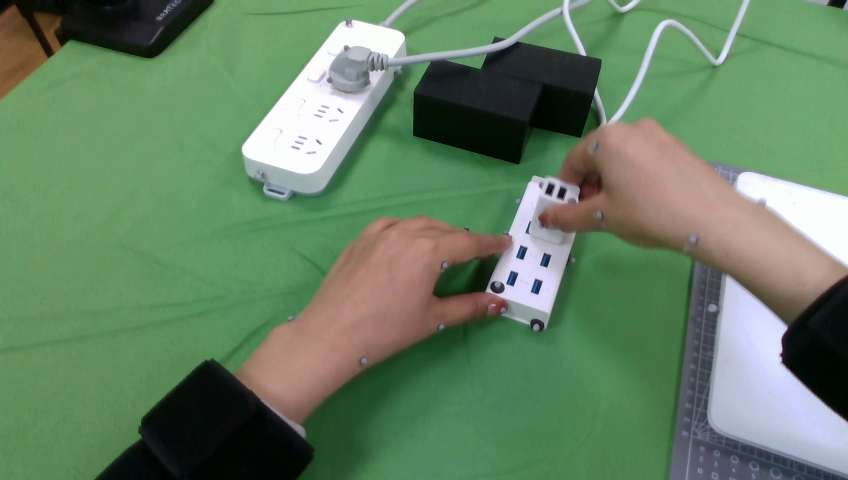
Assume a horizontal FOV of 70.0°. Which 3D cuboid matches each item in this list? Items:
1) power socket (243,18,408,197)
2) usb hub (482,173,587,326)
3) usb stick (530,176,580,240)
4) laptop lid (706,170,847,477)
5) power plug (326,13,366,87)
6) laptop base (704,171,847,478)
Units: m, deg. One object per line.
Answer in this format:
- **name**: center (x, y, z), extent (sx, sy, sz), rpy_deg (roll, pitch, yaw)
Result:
- **power socket**: center (-0.082, -0.129, 0.549), extent (0.072, 0.033, 0.225), rpy_deg (19, 54, 10)
- **usb hub**: center (0.087, 0.003, 0.462), extent (0.049, 0.025, 0.124), rpy_deg (18, 55, 13)
- **usb stick**: center (0.094, -0.018, 0.443), extent (0.027, 0.059, 0.021), rpy_deg (16, 58, 12)
- **laptop lid**: center (0.380, 0.079, 0.406), extent (0.355, 0.013, 0.240), rpy_deg (19, 57, 12)
- **power plug**: center (-0.068, -0.165, 0.549), extent (0.035, 0.053, 0.072), rpy_deg (10, 46, -7)
- **laptop base**: center (0.381, 0.085, 0.417), extent (0.353, 0.023, 0.234), rpy_deg (18, 58, 11)
